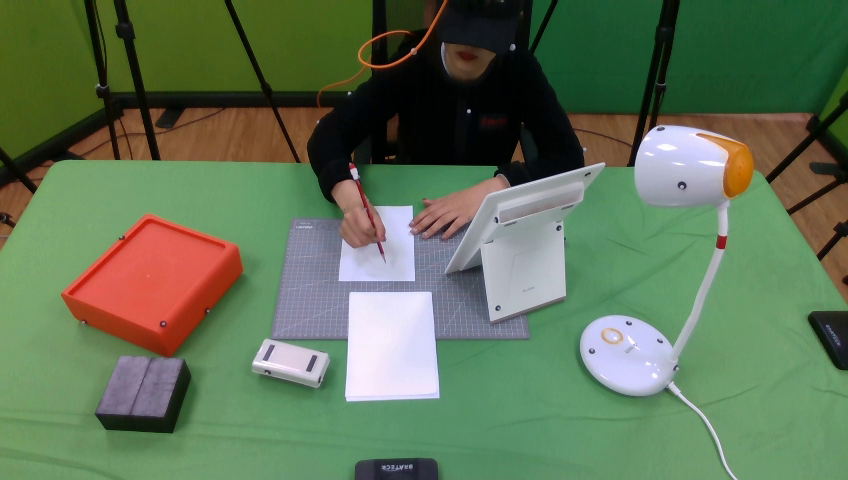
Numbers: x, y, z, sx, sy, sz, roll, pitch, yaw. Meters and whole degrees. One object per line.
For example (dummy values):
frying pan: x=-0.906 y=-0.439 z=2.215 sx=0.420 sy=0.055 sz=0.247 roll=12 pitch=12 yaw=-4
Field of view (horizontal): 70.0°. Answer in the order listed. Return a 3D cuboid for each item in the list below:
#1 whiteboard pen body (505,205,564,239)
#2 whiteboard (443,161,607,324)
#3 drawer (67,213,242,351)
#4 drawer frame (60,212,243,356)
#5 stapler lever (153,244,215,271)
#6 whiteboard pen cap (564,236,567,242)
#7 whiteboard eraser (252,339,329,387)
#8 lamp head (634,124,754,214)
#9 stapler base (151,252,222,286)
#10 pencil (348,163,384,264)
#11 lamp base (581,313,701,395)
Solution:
whiteboard pen body: x=0.227 y=-0.037 z=1.250 sx=0.140 sy=0.017 sz=0.017 roll=31 pitch=52 yaw=24
whiteboard: x=0.185 y=0.026 z=1.028 sx=0.217 sy=0.306 sz=0.143 roll=-15 pitch=68 yaw=-18
drawer: x=-0.461 y=0.068 z=1.056 sx=0.194 sy=0.073 sz=0.211 roll=19 pitch=48 yaw=13
drawer frame: x=-0.462 y=0.070 z=1.053 sx=0.201 sy=0.083 sz=0.213 roll=18 pitch=48 yaw=12
stapler lever: x=-0.430 y=0.025 z=1.088 sx=0.118 sy=0.040 sz=0.027 roll=16 pitch=33 yaw=12
whiteboard pen cap: x=0.271 y=-0.008 z=1.225 sx=0.033 sy=0.018 sz=0.018 roll=34 pitch=53 yaw=23
whiteboard eraser: x=-0.215 y=0.199 z=0.976 sx=0.112 sy=0.042 sz=0.055 roll=12 pitch=45 yaw=7
lamp head: x=0.351 y=-0.089 z=0.775 sx=0.112 sy=0.113 sz=0.122 roll=-30 pitch=30 yaw=-28
stapler base: x=-0.432 y=0.047 z=1.103 sx=0.130 sy=0.024 sz=0.041 roll=16 pitch=33 yaw=12
pencil: x=-0.105 y=-0.048 z=1.113 sx=0.012 sy=0.194 sz=0.012 roll=-18 pitch=5 yaw=2
lamp base: x=0.361 y=0.144 z=0.973 sx=0.178 sy=0.181 sz=0.160 roll=34 pitch=53 yaw=23
